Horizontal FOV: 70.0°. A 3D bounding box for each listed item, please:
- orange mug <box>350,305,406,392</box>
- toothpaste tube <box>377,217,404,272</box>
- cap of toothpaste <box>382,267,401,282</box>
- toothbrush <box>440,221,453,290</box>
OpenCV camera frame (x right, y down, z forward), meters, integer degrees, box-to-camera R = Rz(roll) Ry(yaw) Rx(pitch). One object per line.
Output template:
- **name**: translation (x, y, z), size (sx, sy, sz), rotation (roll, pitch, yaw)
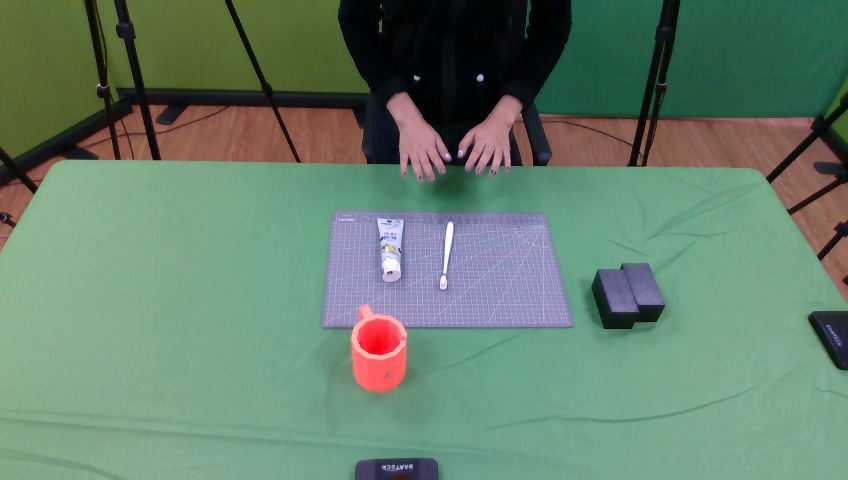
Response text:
- **orange mug**: translation (-0.080, 0.168, 0.978), size (0.083, 0.101, 0.125), rotation (-16, 54, -18)
- **toothpaste tube**: translation (-0.063, 0.008, 1.179), size (0.055, 0.034, 0.164), rotation (5, 42, -9)
- **cap of toothpaste**: translation (-0.060, 0.063, 1.119), size (0.037, 0.037, 0.011), rotation (-9, 50, -12)
- **toothbrush**: translation (0.044, 0.024, 1.177), size (0.014, 0.017, 0.181), rotation (-4, 43, 13)
